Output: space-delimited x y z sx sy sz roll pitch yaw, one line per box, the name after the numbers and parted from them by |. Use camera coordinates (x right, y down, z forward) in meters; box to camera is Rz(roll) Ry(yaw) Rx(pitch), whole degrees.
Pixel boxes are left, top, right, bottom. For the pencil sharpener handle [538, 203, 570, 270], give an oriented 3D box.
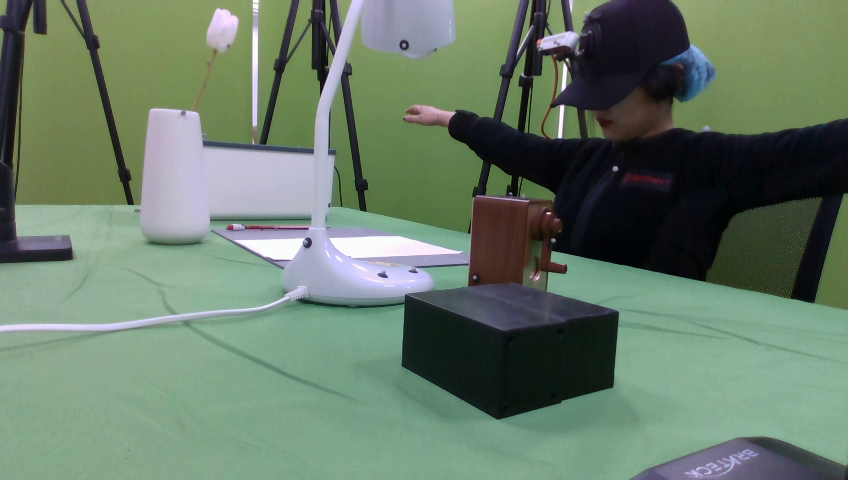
0.137 -0.003 0.619 0.030 0.067 0.036 8 5 38 | pencil sharpener handle

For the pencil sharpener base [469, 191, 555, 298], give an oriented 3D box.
0.097 0.003 0.652 0.076 0.107 0.061 8 9 38 | pencil sharpener base

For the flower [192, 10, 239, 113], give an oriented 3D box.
-0.354 -0.174 0.915 0.038 0.361 0.044 18 -4 12 | flower

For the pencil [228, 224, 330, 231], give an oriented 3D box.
-0.265 -0.023 1.124 0.195 0.012 0.012 -1 8 -32 | pencil

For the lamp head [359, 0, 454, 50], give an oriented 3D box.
-0.024 -0.283 0.674 0.112 0.123 0.112 -3 38 3 | lamp head

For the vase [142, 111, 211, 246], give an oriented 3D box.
-0.378 -0.093 0.920 0.098 0.200 0.098 2 9 0 | vase

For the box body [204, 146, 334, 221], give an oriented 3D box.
-0.413 -0.134 1.379 0.366 0.160 0.253 -2 9 -31 | box body

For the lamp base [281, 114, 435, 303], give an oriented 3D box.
-0.071 -0.035 0.614 0.160 0.180 0.180 6 10 27 | lamp base

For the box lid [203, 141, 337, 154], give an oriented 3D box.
-0.407 -0.209 1.370 0.373 0.015 0.262 -1 8 -31 | box lid
